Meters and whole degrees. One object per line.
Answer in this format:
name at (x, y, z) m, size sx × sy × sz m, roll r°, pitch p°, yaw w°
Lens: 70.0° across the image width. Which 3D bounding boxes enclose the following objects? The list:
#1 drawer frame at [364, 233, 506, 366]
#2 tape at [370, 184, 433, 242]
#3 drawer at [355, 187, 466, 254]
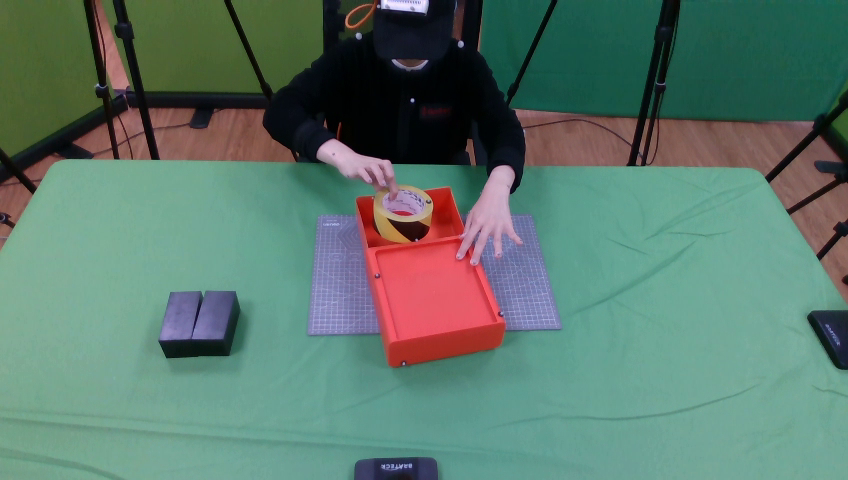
drawer frame at (0.013, 0.097, 1.058) m, size 0.202 × 0.083 × 0.212 m, roll -8°, pitch 48°, yaw -13°
tape at (-0.040, -0.050, 1.120) m, size 0.117 × 0.053 × 0.116 m, roll 5°, pitch 42°, yaw -4°
drawer at (-0.019, 0.000, 1.154) m, size 0.195 × 0.073 × 0.210 m, roll -7°, pitch 47°, yaw -11°
